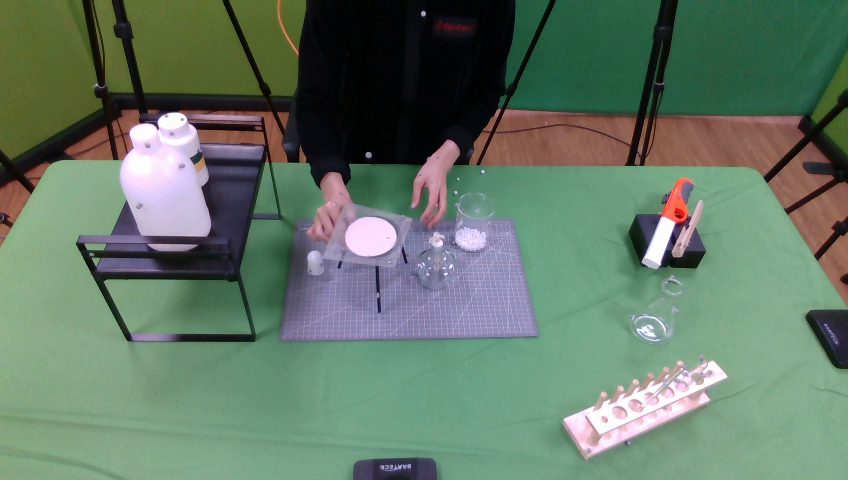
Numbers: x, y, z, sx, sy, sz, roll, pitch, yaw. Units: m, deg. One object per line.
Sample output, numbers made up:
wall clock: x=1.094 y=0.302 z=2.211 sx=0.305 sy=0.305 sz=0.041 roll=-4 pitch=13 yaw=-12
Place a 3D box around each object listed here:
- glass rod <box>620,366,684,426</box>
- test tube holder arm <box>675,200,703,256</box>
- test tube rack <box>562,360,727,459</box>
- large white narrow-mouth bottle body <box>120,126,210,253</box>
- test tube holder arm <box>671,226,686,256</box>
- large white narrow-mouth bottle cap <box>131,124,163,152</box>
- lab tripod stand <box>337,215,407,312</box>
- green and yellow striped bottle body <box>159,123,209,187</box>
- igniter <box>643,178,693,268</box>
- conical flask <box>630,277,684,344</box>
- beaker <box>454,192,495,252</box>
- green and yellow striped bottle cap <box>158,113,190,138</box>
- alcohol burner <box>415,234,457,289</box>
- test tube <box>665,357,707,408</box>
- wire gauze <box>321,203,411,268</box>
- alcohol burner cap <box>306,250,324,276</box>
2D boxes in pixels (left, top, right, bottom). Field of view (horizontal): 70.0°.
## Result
glass rod: x=0.322 y=0.227 z=0.866 sx=0.008 sy=0.200 sz=0.008 roll=6 pitch=51 yaw=-7
test tube holder arm: x=0.523 y=-0.025 z=1.190 sx=0.013 sy=0.015 sz=0.178 roll=1 pitch=36 yaw=42
test tube rack: x=0.341 y=0.247 z=0.940 sx=0.243 sy=0.085 sz=0.066 roll=-16 pitch=49 yaw=-19
large white narrow-mouth bottle body: x=-0.378 y=-0.078 z=0.875 sx=0.102 sy=0.195 sz=0.101 roll=3 pitch=46 yaw=-3
test tube holder arm: x=0.494 y=0.001 z=1.167 sx=0.010 sy=0.015 sz=0.087 roll=1 pitch=36 yaw=42
large white narrow-mouth bottle cap: x=-0.371 y=-0.138 z=0.813 sx=0.038 sy=0.024 sz=0.037 roll=3 pitch=46 yaw=-3
lab tripod stand: x=-0.090 y=0.032 z=1.059 sx=0.148 sy=0.132 sz=0.147 roll=1 pitch=52 yaw=-2
green and yellow striped bottle body: x=-0.395 y=-0.145 z=0.989 sx=0.063 sy=0.120 sz=0.063 roll=2 pitch=46 yaw=-2
igniter: x=0.488 y=-0.042 z=1.205 sx=0.057 sy=0.025 sz=0.276 roll=30 pitch=51 yaw=11
conical flask: x=0.408 y=0.117 z=1.045 sx=0.075 sy=0.122 sz=0.075 roll=2 pitch=46 yaw=-2
beaker: x=0.097 y=-0.034 z=1.180 sx=0.074 sy=0.101 sz=0.084 roll=23 pitch=49 yaw=17
green and yellow striped bottle cap: x=-0.393 y=-0.180 z=0.951 sx=0.045 sy=0.020 sz=0.045 roll=2 pitch=44 yaw=-2
alcohol burner: x=0.022 y=0.033 z=1.099 sx=0.078 sy=0.120 sz=0.077 roll=1 pitch=47 yaw=-1
test tube: x=0.387 y=0.216 z=0.905 sx=0.017 sy=0.151 sz=0.017 roll=1 pitch=52 yaw=-1
wire gauze: x=-0.094 y=-0.007 z=1.004 sx=0.121 sy=0.011 sz=0.124 roll=12 pitch=51 yaw=7
alcohol burner cap: x=-0.205 y=0.040 z=1.125 sx=0.034 sy=0.048 sz=0.033 roll=2 pitch=45 yaw=-2
